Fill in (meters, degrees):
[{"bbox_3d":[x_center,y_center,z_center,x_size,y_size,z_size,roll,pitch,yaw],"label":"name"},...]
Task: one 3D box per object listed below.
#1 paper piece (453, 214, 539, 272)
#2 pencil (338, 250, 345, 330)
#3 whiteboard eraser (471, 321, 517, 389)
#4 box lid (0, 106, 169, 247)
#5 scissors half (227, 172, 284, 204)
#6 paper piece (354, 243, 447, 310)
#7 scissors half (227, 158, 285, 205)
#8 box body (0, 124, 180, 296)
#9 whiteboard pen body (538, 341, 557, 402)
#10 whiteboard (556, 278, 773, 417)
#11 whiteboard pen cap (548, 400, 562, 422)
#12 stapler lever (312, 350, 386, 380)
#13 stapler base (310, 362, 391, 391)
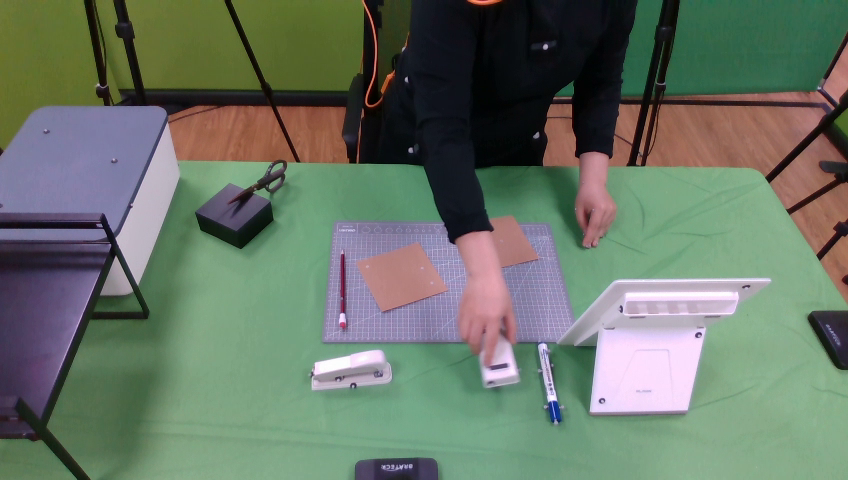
[{"bbox_3d":[0.142,0.003,1.213,0.135,0.004,0.135,-11,48,-14],"label":"paper piece"},{"bbox_3d":[-0.152,0.085,1.107,0.012,0.012,0.192,-3,44,-7],"label":"pencil"},{"bbox_3d":[0.113,0.188,0.986,0.055,0.042,0.112,-8,44,-2],"label":"whiteboard eraser"},{"bbox_3d":[-0.624,-0.125,1.067,0.263,0.015,0.369,0,46,-3],"label":"box lid"},{"bbox_3d":[-0.340,-0.101,1.231,0.013,0.040,0.175,21,28,17],"label":"scissors half"},{"bbox_3d":[-0.045,0.066,1.137,0.136,0.009,0.137,-13,47,-23],"label":"paper piece"},{"bbox_3d":[-0.336,-0.117,1.218,0.013,0.040,0.175,25,47,13],"label":"scissors half"},{"bbox_3d":[-0.627,-0.075,1.122,0.254,0.161,0.361,1,46,-4],"label":"box body"},{"bbox_3d":[0.205,0.228,0.997,0.017,0.017,0.140,1,47,-3],"label":"whiteboard pen body"},{"bbox_3d":[0.347,0.174,0.903,0.217,0.306,0.143,1,65,-4],"label":"whiteboard"},{"bbox_3d":[0.206,0.269,0.956,0.018,0.018,0.033,0,48,-5],"label":"whiteboard pen cap"},{"bbox_3d":[-0.120,0.199,0.963,0.118,0.040,0.026,-4,44,-8],"label":"stapler lever"},{"bbox_3d":[-0.119,0.215,0.980,0.131,0.024,0.041,-5,44,-7],"label":"stapler base"}]
